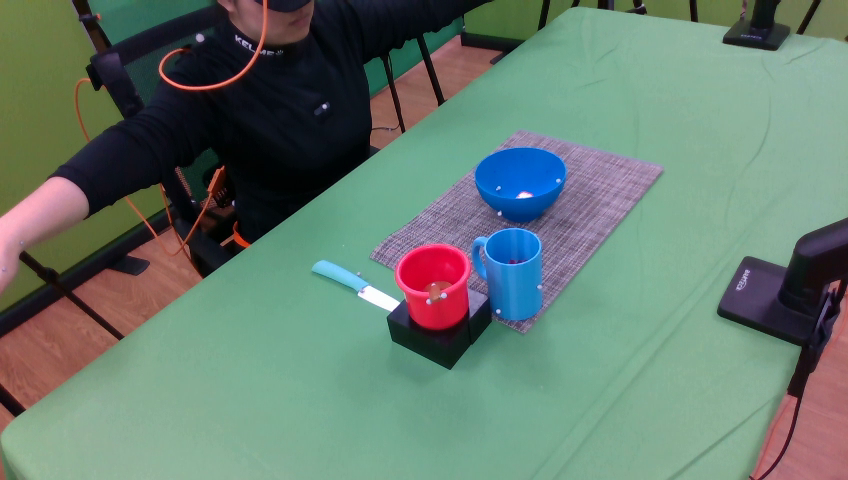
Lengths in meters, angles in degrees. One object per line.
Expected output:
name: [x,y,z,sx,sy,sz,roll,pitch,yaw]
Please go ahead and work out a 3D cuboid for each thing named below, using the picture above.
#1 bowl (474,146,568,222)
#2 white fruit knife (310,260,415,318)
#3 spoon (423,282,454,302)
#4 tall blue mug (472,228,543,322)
bowl: [0.161,-0.083,1.000,0.151,0.077,0.150,-5,40,5]
white fruit knife: [-0.094,0.074,0.920,0.206,0.016,0.027,24,77,31]
spoon: [0.015,0.062,0.733,0.041,0.021,0.194,-5,-4,3]
tall blue mug: [0.110,0.046,0.832,0.107,0.108,0.077,6,43,18]
